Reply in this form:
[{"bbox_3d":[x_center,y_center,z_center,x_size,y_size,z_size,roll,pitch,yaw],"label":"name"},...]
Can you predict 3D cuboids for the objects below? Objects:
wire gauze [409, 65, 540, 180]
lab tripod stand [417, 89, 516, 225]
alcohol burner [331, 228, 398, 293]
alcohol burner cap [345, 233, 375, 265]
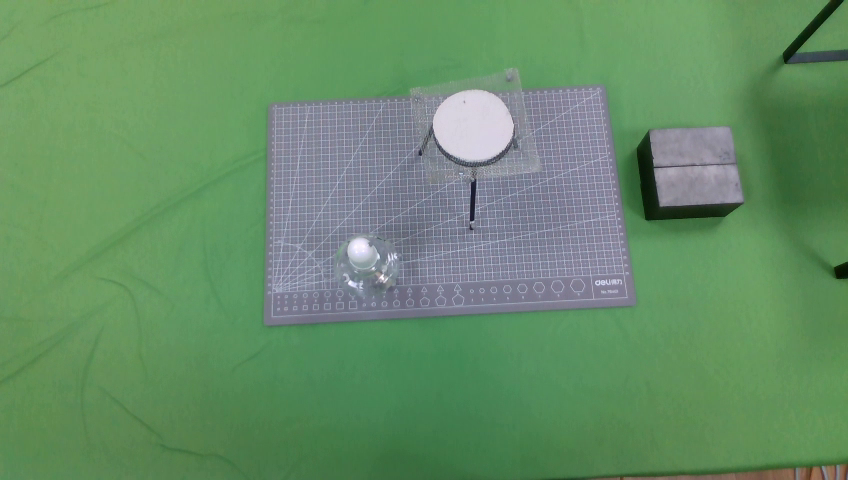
[{"bbox_3d":[0.053,-0.125,0.650,0.125,0.011,0.120,-8,74,-3],"label":"wire gauze"},{"bbox_3d":[0.056,-0.109,0.715,0.148,0.132,0.147,0,72,1],"label":"lab tripod stand"},{"bbox_3d":[-0.070,0.019,0.692,0.078,0.119,0.077,0,73,0],"label":"alcohol burner"},{"bbox_3d":[-0.071,0.008,0.657,0.034,0.048,0.033,0,77,-1],"label":"alcohol burner cap"}]
